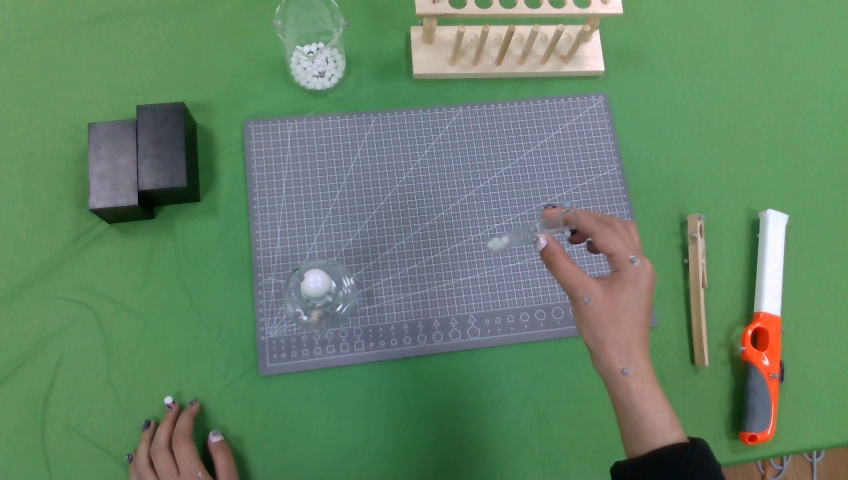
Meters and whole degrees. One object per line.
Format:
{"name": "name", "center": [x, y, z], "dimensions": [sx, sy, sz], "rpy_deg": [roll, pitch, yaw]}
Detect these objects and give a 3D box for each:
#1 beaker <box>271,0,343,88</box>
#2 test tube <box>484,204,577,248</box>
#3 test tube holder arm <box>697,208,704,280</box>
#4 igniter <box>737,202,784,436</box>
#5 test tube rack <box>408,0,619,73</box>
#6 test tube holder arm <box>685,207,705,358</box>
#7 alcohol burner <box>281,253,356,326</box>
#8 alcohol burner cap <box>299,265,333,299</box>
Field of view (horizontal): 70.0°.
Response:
{"name": "beaker", "center": [-0.130, -0.226, 0.697], "dimensions": [0.074, 0.100, 0.083], "rpy_deg": [-4, 76, -6]}
{"name": "test tube", "center": [0.085, -0.010, 0.520], "dimensions": [0.017, 0.150, 0.017], "rpy_deg": [3, 81, -17]}
{"name": "test tube holder arm", "center": [0.325, 0.005, 0.723], "dimensions": [0.010, 0.015, 0.087], "rpy_deg": [14, 73, -33]}
{"name": "igniter", "center": [0.393, 0.088, 0.702], "dimensions": [0.057, 0.025, 0.275], "rpy_deg": [16, 75, -12]}
{"name": "test tube rack", "center": [0.105, -0.255, 0.733], "dimensions": [0.243, 0.085, 0.066], "rpy_deg": [-2, 76, -6]}
{"name": "test tube holder arm", "center": [0.317, 0.048, 0.709], "dimensions": [0.013, 0.015, 0.177], "rpy_deg": [13, 74, -33]}
{"name": "alcohol burner", "center": [-0.109, 0.047, 0.620], "dimensions": [0.078, 0.119, 0.077], "rpy_deg": [2, 74, -6]}
{"name": "alcohol burner cap", "center": [-0.106, 0.040, 0.585], "dimensions": [0.034, 0.048, 0.033], "rpy_deg": [1, 80, -6]}
